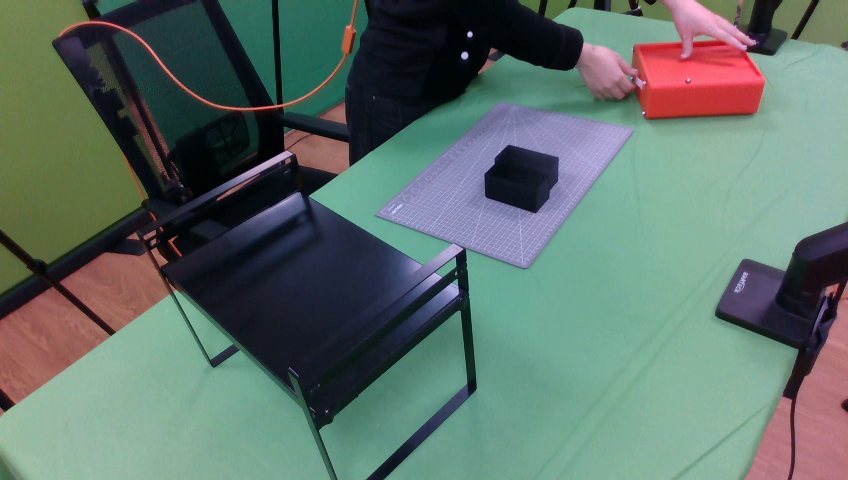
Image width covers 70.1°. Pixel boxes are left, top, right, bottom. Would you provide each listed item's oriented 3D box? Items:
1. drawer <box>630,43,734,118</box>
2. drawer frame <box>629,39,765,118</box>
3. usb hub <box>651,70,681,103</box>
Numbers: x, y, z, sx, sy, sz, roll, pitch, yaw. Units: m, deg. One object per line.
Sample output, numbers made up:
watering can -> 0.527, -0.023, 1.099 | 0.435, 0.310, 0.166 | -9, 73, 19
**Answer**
drawer -> 0.542, -0.329, 1.233 | 0.211, 0.073, 0.194 | 0, 40, 7
drawer frame -> 0.544, -0.332, 1.233 | 0.213, 0.083, 0.201 | -1, 41, 6
usb hub -> 0.501, -0.318, 1.249 | 0.049, 0.025, 0.125 | 10, 38, 20
